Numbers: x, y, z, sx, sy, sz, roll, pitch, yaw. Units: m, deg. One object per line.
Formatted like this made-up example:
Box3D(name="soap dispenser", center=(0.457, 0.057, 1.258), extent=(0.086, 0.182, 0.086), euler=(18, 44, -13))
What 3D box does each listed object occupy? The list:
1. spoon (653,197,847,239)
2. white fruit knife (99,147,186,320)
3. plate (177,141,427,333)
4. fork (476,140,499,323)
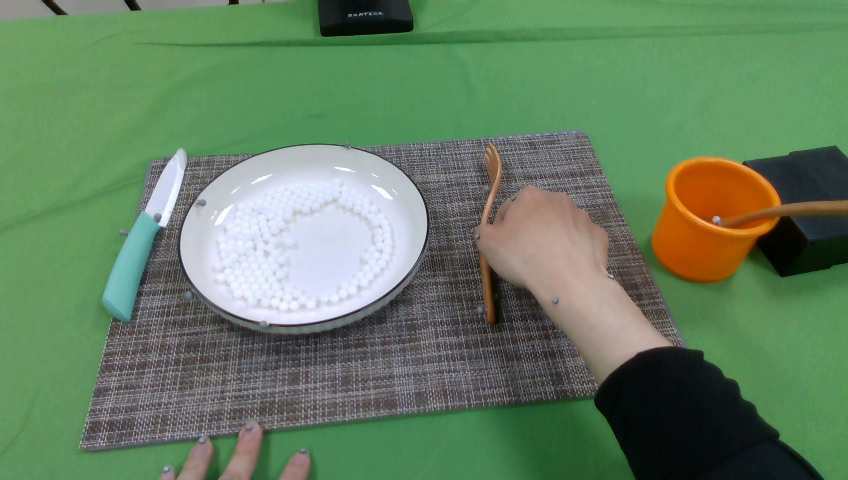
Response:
Box3D(name="spoon", center=(0.269, -0.020, 0.480), extent=(0.041, 0.193, 0.022), euler=(-34, 102, -30))
Box3D(name="white fruit knife", center=(-0.248, -0.017, 0.546), extent=(0.027, 0.016, 0.205), euler=(21, 43, -21))
Box3D(name="plate", center=(-0.101, -0.005, 0.524), extent=(0.209, 0.038, 0.207), euler=(1, 49, -1))
Box3D(name="fork", center=(0.056, -0.015, 0.545), extent=(0.019, 0.028, 0.205), euler=(15, 50, -9))
